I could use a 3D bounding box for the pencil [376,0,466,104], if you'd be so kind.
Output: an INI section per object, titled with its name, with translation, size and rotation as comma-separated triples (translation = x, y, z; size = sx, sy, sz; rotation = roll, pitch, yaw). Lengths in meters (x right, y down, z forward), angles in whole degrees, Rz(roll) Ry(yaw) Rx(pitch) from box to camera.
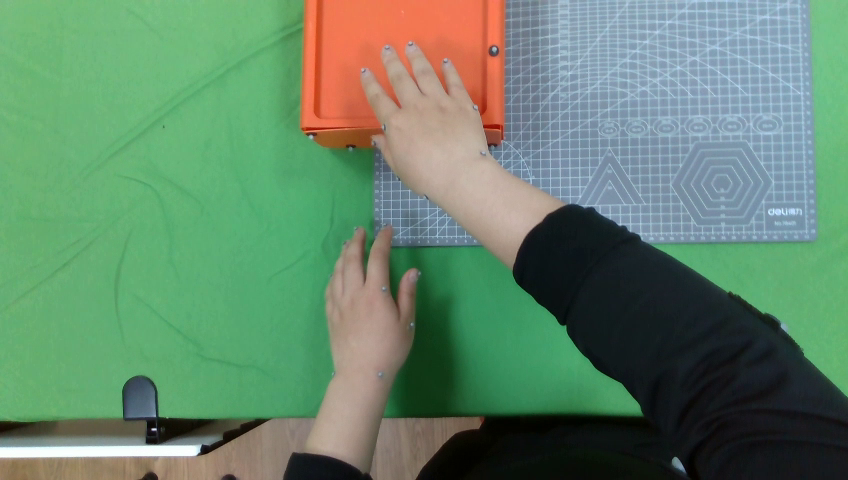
[pencil]
translation = -0.016, -0.217, 0.641
size = 0.012, 0.012, 0.193
rotation = -39, 84, 4

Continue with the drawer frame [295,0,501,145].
[drawer frame]
translation = -0.023, -0.209, 0.619
size = 0.201, 0.083, 0.213
rotation = -1, 86, 8

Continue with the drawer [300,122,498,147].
[drawer]
translation = -0.022, -0.203, 0.619
size = 0.194, 0.073, 0.211
rotation = 0, 86, 7
